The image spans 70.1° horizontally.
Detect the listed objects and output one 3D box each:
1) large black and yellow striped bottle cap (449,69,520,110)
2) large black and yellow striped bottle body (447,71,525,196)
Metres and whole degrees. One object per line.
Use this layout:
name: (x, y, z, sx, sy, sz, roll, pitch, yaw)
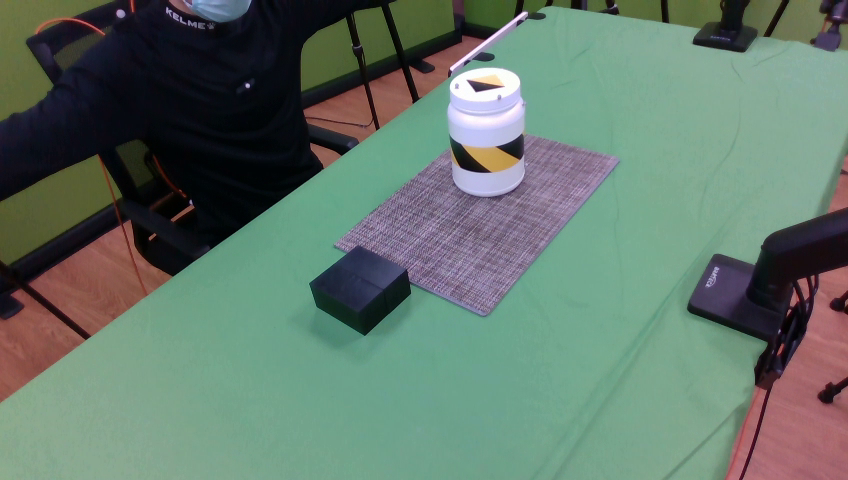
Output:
large black and yellow striped bottle cap: (0.098, -0.246, 0.980, 0.115, 0.019, 0.114, -3, 40, 3)
large black and yellow striped bottle body: (0.108, -0.183, 1.034, 0.131, 0.185, 0.130, -4, 41, 4)
